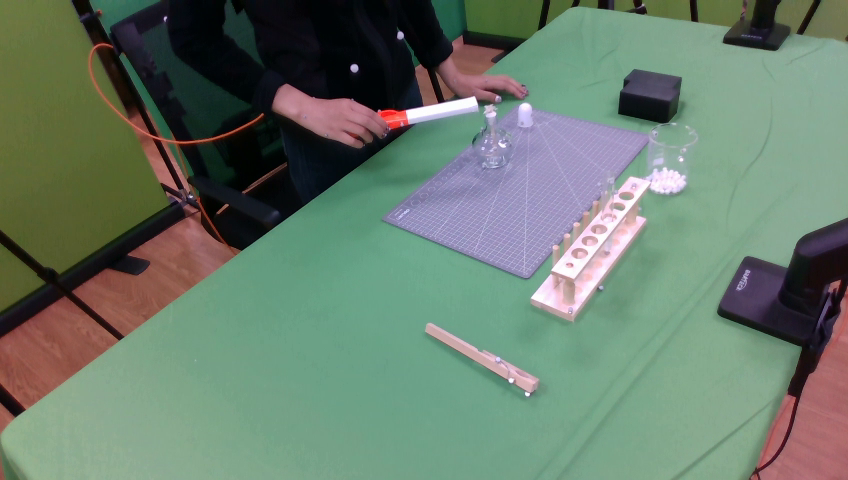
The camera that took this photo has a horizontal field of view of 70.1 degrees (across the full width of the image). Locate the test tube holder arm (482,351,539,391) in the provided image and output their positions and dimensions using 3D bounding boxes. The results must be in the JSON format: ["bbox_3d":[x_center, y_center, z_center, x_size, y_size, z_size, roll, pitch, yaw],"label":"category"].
[{"bbox_3d":[0.106,0.166,0.769,0.087,0.015,0.010,24,16,34],"label":"test tube holder arm"}]

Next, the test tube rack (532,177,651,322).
[{"bbox_3d":[0.247,0.002,0.883,0.066,0.085,0.243,22,49,32],"label":"test tube rack"}]

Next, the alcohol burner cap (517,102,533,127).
[{"bbox_3d":[0.205,-0.255,1.223,0.034,0.048,0.033,-6,40,5],"label":"alcohol burner cap"}]

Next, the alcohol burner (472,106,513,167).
[{"bbox_3d":[0.125,-0.195,1.111,0.078,0.119,0.077,-5,42,5],"label":"alcohol burner"}]

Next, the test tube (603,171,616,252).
[{"bbox_3d":[0.259,-0.036,0.848,0.017,0.151,0.017,-8,46,9],"label":"test tube"}]

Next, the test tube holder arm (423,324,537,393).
[{"bbox_3d":[0.069,0.151,0.789,0.177,0.015,0.013,23,15,33],"label":"test tube holder arm"}]

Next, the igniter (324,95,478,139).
[{"bbox_3d":[-0.042,-0.219,1.078,0.277,0.025,0.057,-11,45,0],"label":"igniter"}]

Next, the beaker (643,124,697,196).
[{"bbox_3d":[0.407,-0.132,1.001,0.084,0.101,0.073,-20,42,-13],"label":"beaker"}]
